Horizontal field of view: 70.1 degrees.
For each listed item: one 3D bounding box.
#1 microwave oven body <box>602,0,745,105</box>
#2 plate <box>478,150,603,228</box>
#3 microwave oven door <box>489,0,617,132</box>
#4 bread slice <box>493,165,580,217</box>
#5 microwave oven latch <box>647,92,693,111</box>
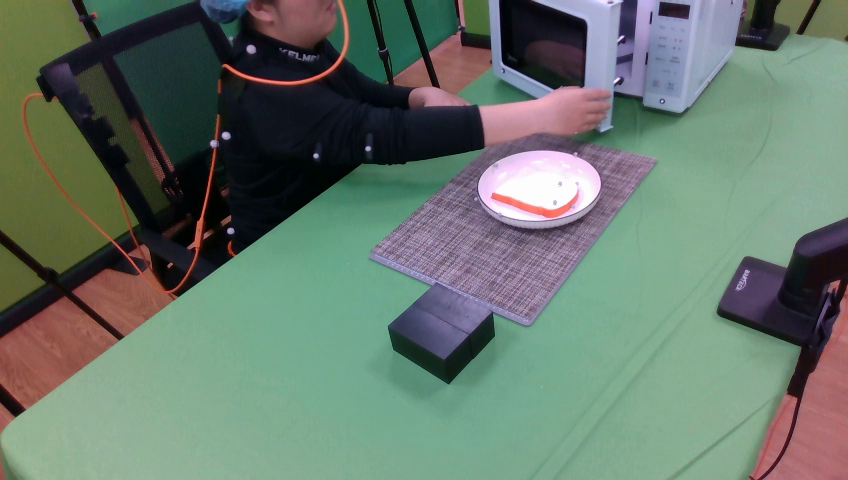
[{"bbox_3d":[0.416,-0.486,1.290,0.438,0.261,0.327,21,50,33],"label":"microwave oven body"},{"bbox_3d":[0.198,-0.084,1.030,0.209,0.038,0.208,-5,40,5],"label":"plate"},{"bbox_3d":[0.245,-0.388,1.200,0.039,0.245,0.352,-26,43,-18],"label":"microwave oven door"},{"bbox_3d":[0.200,-0.085,1.034,0.130,0.019,0.105,24,51,34],"label":"bread slice"},{"bbox_3d":[0.477,-0.273,1.177,0.078,0.029,0.030,23,51,34],"label":"microwave oven latch"}]
